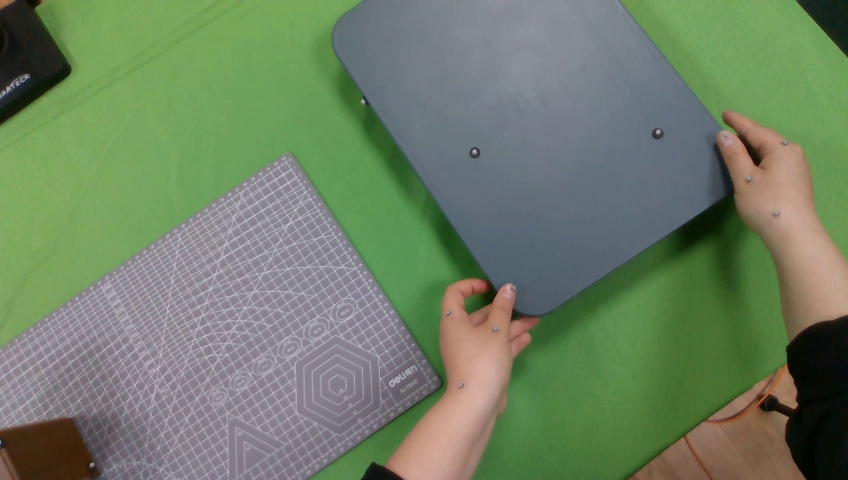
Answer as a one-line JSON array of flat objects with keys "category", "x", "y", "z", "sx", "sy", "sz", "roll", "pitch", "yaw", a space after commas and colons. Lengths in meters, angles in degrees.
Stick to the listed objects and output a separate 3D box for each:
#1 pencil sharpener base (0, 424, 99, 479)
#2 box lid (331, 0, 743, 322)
[{"category": "pencil sharpener base", "x": -0.378, "y": 0.228, "z": 0.578, "sx": 0.061, "sy": 0.107, "sz": 0.076, "roll": -34, "pitch": 80, "yaw": -1}, {"category": "box lid", "x": 0.100, "y": -0.134, "z": 0.596, "sx": 0.263, "sy": 0.015, "sz": 0.370, "roll": -34, "pitch": 80, "yaw": -1}]
